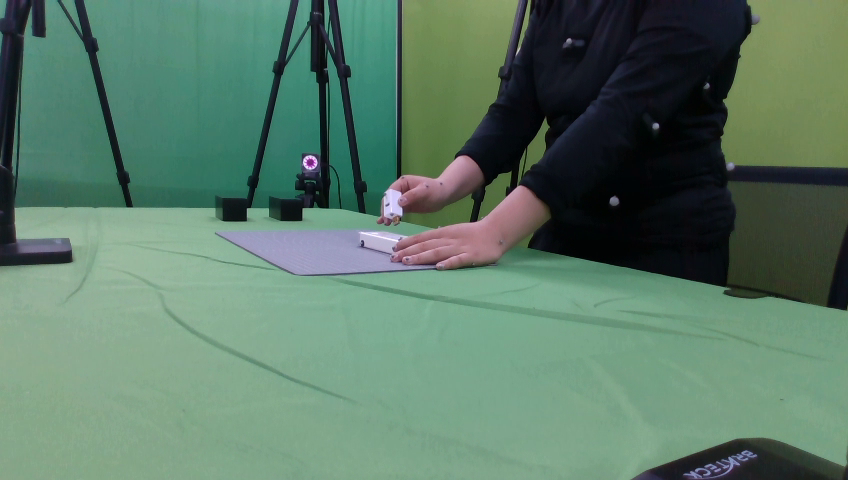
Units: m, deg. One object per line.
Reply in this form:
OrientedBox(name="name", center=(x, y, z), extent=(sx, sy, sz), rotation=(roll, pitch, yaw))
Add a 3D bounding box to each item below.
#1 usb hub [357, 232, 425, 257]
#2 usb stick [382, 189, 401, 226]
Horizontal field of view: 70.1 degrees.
OrientedBox(name="usb hub", center=(-0.054, 0.005, 0.948), extent=(0.050, 0.025, 0.124), rotation=(-3, 9, -36))
OrientedBox(name="usb stick", center=(-0.053, -0.052, 0.994), extent=(0.027, 0.059, 0.021), rotation=(16, -27, -43))
